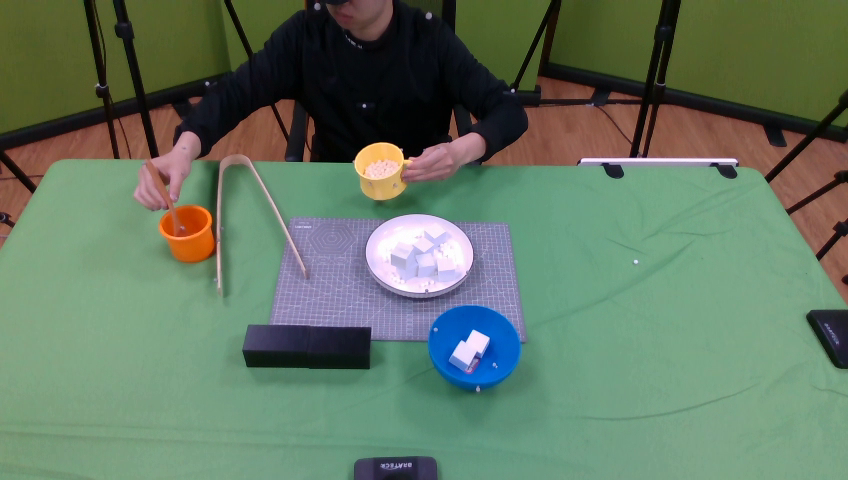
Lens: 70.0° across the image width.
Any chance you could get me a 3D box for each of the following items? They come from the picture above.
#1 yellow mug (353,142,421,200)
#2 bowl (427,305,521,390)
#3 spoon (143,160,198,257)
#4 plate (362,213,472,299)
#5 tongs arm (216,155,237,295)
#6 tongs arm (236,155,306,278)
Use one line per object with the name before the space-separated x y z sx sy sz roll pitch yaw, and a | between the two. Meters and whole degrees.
yellow mug | -0.072 -0.141 1.221 0.131 0.064 0.099 -3 56 5
bowl | 0.076 0.188 0.985 0.151 0.077 0.150 3 46 -3
spoon | -0.457 -0.055 1.094 0.021 0.194 0.041 3 31 29
plate | -0.013 0.034 1.150 0.208 0.039 0.206 2 46 -2
tongs arm | -0.388 -0.043 1.201 0.051 0.026 0.382 -10 46 -12
tongs arm | -0.311 -0.059 1.223 0.028 0.028 0.385 -22 50 -18
